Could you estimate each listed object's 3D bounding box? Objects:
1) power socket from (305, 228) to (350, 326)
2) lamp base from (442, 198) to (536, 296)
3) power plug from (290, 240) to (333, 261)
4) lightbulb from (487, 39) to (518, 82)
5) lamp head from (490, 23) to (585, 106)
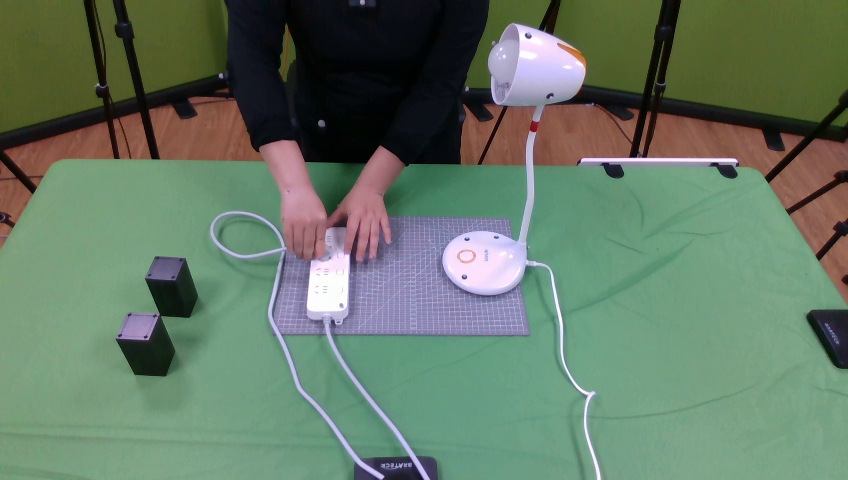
[{"bbox_3d":[-0.176,0.058,1.116,0.072,0.033,0.225,-1,46,-4],"label":"power socket"},{"bbox_3d":[0.130,-0.012,1.104,0.179,0.181,0.159,-1,46,-9],"label":"lamp base"},{"bbox_3d":[-0.206,0.021,1.125,0.072,0.053,0.035,9,46,11],"label":"power plug"},{"bbox_3d":[0.143,-0.251,0.865,0.108,0.060,0.059,9,45,-7],"label":"lightbulb"},{"bbox_3d":[0.166,-0.241,0.872,0.123,0.113,0.111,9,43,-17],"label":"lamp head"}]
